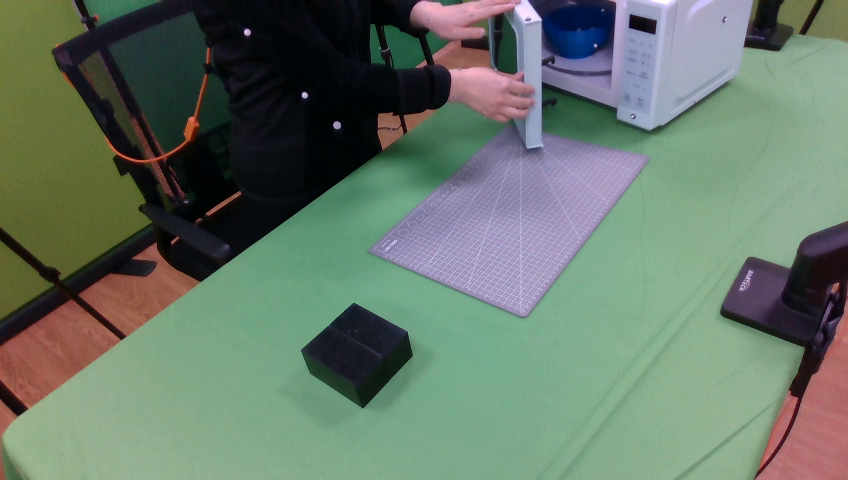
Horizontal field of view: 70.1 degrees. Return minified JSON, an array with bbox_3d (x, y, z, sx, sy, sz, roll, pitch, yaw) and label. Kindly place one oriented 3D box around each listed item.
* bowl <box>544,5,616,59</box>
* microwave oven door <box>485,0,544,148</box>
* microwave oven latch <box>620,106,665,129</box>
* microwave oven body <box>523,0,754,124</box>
[{"bbox_3d":[0.332,-0.441,1.302,0.151,0.077,0.150,-3,39,3],"label":"bowl"},{"bbox_3d":[0.174,-0.377,1.200,0.039,0.245,0.353,-10,40,-1],"label":"microwave oven door"},{"bbox_3d":[0.413,-0.237,1.146,0.030,0.029,0.078,-31,44,-23],"label":"microwave oven latch"},{"bbox_3d":[0.402,-0.458,1.259,0.327,0.261,0.437,-33,45,-24],"label":"microwave oven body"}]
